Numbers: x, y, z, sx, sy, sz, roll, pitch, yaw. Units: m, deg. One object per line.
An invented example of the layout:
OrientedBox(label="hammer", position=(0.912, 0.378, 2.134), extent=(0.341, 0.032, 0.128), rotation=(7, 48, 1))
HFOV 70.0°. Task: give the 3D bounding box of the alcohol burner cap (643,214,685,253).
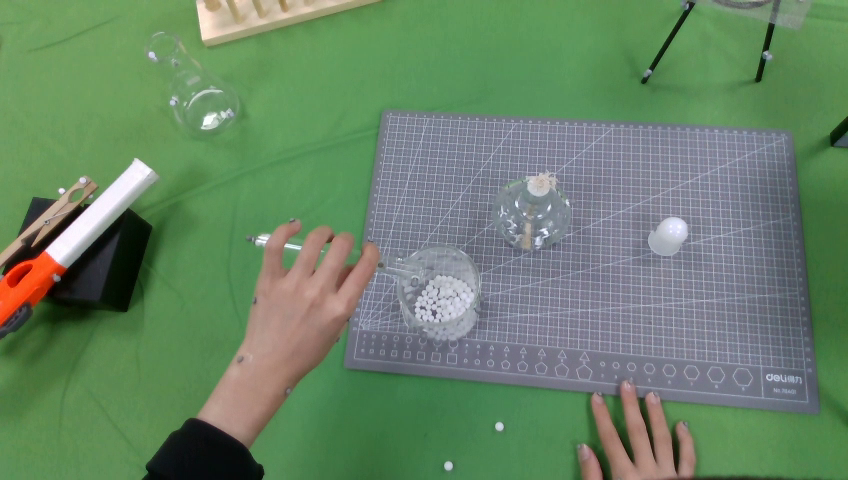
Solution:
OrientedBox(label="alcohol burner cap", position=(0.242, -0.009, 0.605), extent=(0.034, 0.048, 0.033), rotation=(-1, 70, 4))

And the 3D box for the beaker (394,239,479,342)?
OrientedBox(label="beaker", position=(0.013, 0.055, 0.569), extent=(0.073, 0.101, 0.084), rotation=(34, 76, 16))

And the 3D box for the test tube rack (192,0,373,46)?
OrientedBox(label="test tube rack", position=(-0.169, -0.317, 0.725), extent=(0.242, 0.086, 0.066), rotation=(-16, 70, -1))

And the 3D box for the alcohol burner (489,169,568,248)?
OrientedBox(label="alcohol burner", position=(0.103, -0.036, 0.587), extent=(0.078, 0.120, 0.077), rotation=(-1, 69, 2))

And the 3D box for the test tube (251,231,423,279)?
OrientedBox(label="test tube", position=(-0.075, 0.012, 0.508), extent=(0.150, 0.017, 0.017), rotation=(10, 71, 8))

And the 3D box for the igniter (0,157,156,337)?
OrientedBox(label="igniter", position=(-0.376, 0.025, 0.600), extent=(0.057, 0.025, 0.276), rotation=(33, 75, 24))

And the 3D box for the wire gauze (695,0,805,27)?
OrientedBox(label="wire gauze", position=(0.307, -0.264, 0.574), extent=(0.121, 0.011, 0.124), rotation=(25, 75, 11))

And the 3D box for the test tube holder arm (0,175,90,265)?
OrientedBox(label="test tube holder arm", position=(-0.407, 0.000, 0.610), extent=(0.013, 0.015, 0.178), rotation=(46, 78, -14))

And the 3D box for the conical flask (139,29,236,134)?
OrientedBox(label="conical flask", position=(-0.262, -0.176, 0.662), extent=(0.075, 0.123, 0.075), rotation=(-1, 70, 4))

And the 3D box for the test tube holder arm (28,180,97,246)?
OrientedBox(label="test tube holder arm", position=(-0.373, -0.028, 0.621), extent=(0.010, 0.015, 0.087), rotation=(46, 78, -13))

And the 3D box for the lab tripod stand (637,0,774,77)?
OrientedBox(label="lab tripod stand", position=(0.305, -0.240, 0.637), extent=(0.148, 0.132, 0.147), rotation=(-1, 69, 2))
